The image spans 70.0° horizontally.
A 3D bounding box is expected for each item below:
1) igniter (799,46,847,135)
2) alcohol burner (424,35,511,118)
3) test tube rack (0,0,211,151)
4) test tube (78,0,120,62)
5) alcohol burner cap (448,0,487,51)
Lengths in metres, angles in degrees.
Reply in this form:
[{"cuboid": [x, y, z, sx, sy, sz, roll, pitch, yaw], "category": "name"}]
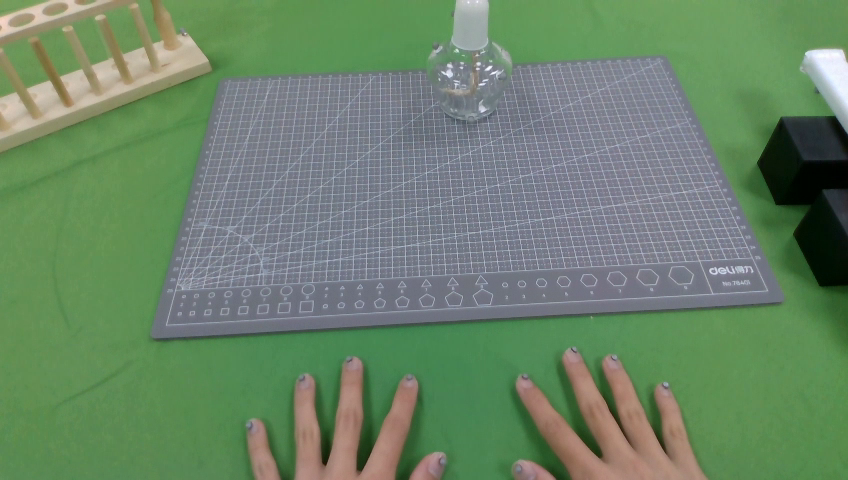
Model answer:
[{"cuboid": [0.333, -0.055, 0.431, 0.057, 0.025, 0.274, -1, 50, 5], "category": "igniter"}, {"cuboid": [0.039, -0.167, 0.532, 0.078, 0.120, 0.077, 0, 52, 0], "category": "alcohol burner"}, {"cuboid": [-0.338, -0.166, 0.566, 0.242, 0.086, 0.066, -28, 56, -19], "category": "test tube rack"}, {"cuboid": [-0.312, -0.231, 0.552, 0.017, 0.151, 0.017, -1, 48, 1], "category": "test tube"}, {"cuboid": [0.038, -0.188, 0.508, 0.034, 0.048, 0.033, 1, 50, -1], "category": "alcohol burner cap"}]
